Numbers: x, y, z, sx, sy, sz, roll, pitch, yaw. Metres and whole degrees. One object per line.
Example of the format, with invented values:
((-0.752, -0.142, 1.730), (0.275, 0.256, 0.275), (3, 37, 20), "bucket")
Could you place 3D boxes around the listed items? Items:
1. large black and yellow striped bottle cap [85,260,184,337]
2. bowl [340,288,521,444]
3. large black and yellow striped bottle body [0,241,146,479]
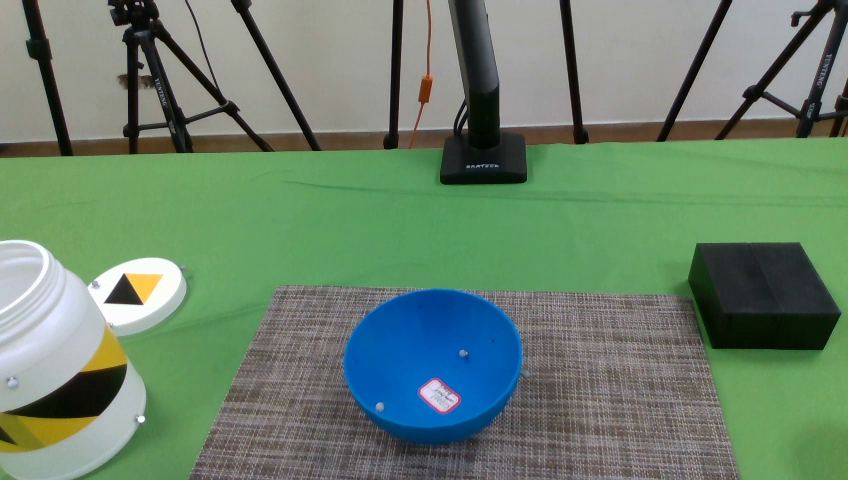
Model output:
((-0.337, 0.064, 0.696), (0.115, 0.019, 0.114), (-2, 39, 2), "large black and yellow striped bottle cap")
((0.008, 0.120, 0.526), (0.151, 0.077, 0.150), (-3, 39, 3), "bowl")
((-0.333, 0.104, 0.512), (0.131, 0.186, 0.129), (-4, 39, 3), "large black and yellow striped bottle body")
